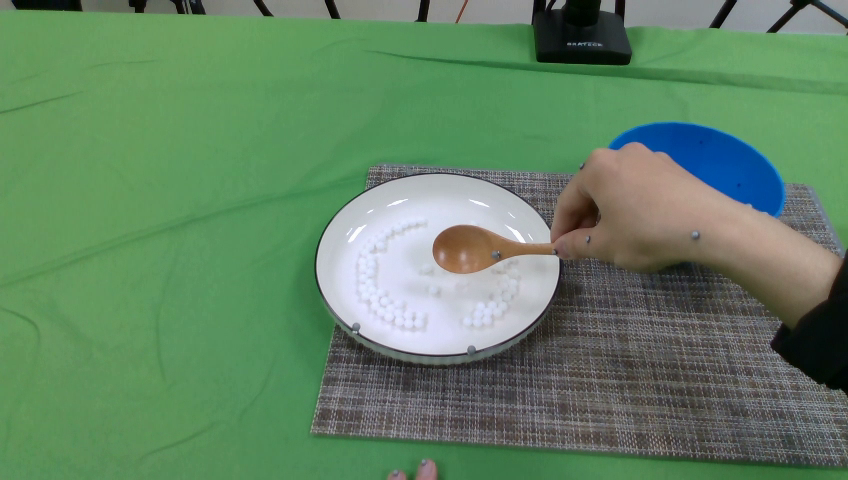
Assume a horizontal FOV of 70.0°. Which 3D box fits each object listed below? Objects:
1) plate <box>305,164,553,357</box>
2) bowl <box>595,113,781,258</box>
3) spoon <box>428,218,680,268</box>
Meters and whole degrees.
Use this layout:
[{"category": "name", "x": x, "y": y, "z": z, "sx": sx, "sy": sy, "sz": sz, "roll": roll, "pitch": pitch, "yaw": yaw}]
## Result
[{"category": "plate", "x": 0.005, "y": 0.016, "z": 0.523, "sx": 0.208, "sy": 0.039, "sz": 0.205, "roll": 0, "pitch": 48, "yaw": 0}, {"category": "bowl", "x": 0.223, "y": -0.037, "z": 0.543, "sx": 0.151, "sy": 0.077, "sz": 0.150, "roll": 0, "pitch": 48, "yaw": 0}, {"category": "spoon", "x": 0.089, "y": 0.002, "z": 0.455, "sx": 0.192, "sy": 0.041, "sz": 0.022, "roll": -1, "pitch": -1, "yaw": 35}]
